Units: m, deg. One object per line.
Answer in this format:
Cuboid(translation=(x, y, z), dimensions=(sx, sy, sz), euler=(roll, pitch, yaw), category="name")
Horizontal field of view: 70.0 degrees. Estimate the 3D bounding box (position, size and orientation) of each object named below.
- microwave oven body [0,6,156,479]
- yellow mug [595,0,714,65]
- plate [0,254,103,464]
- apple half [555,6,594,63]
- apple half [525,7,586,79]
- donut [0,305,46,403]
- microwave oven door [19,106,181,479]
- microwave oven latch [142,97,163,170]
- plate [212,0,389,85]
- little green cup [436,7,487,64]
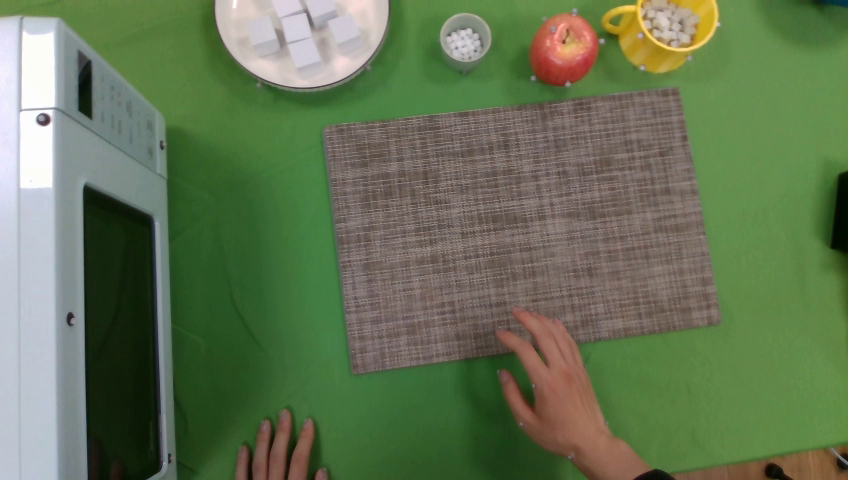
Cuboid(translation=(-0.442, 0.054, 0.565), dimensions=(0.326, 0.260, 0.440), euler=(-5, 84, -4), category="microwave oven body")
Cuboid(translation=(0.278, -0.277, 0.747), dimensions=(0.131, 0.064, 0.099), euler=(3, 83, -2), category="yellow mug")
Cuboid(translation=(-0.429, 0.118, 0.610), dimensions=(0.209, 0.038, 0.208), euler=(1, 84, -4), category="plate")
Cuboid(translation=(0.183, -0.251, 0.734), dimensions=(0.033, 0.081, 0.081), euler=(-34, 86, -2), category="apple half")
Cuboid(translation=(0.150, -0.229, 0.731), dimensions=(0.053, 0.074, 0.081), euler=(-34, 90, -2), category="apple half")
Cuboid(translation=(-0.427, 0.113, 0.597), dimensions=(0.099, 0.048, 0.099), euler=(0, 85, -2), category="donut")
Cuboid(translation=(-0.293, 0.084, 0.565), dimensions=(0.039, 0.244, 0.354), euler=(-5, 84, -3), category="microwave oven door")
Cuboid(translation=(-0.315, -0.120, 0.688), dimensions=(0.030, 0.029, 0.079), euler=(-3, 84, -4), category="microwave oven latch")
Cuboid(translation=(-0.147, -0.284, 0.736), dimensions=(0.208, 0.039, 0.207), euler=(0, 83, -3), category="plate")
Cuboid(translation=(0.044, -0.249, 0.743), dimensions=(0.061, 0.038, 0.061), euler=(0, 83, -3), category="little green cup")
